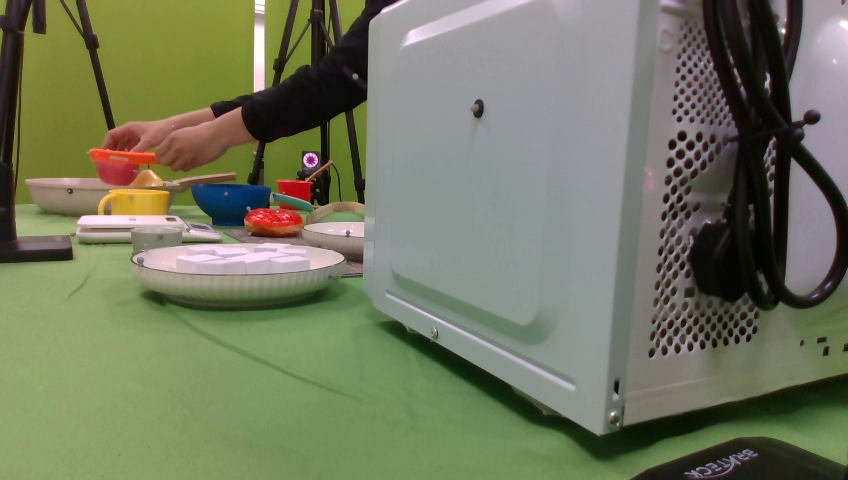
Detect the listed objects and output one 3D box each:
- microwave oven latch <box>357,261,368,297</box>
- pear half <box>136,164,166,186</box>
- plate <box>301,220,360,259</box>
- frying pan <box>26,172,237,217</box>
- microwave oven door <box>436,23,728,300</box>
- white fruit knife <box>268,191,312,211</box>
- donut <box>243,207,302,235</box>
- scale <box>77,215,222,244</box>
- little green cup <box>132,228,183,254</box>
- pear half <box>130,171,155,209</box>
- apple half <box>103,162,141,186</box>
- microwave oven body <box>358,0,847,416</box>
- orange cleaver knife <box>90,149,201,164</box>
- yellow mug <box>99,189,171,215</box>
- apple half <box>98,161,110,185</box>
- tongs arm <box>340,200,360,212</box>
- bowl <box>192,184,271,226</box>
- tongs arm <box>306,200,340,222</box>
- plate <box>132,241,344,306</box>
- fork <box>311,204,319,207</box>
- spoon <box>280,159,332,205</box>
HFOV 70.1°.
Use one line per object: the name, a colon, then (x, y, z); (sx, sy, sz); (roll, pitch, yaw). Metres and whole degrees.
microwave oven latch: (-0.019, 0.033, 0.531); (0.079, 0.029, 0.030); (-1, 7, -27)
pear half: (-0.602, -0.120, 1.354); (0.056, 0.110, 0.076); (4, 11, 6)
plate: (-0.077, -0.002, 0.893); (0.209, 0.038, 0.209); (3, 8, 0)
frying pan: (-0.624, -0.118, 1.387); (0.305, 0.102, 0.490); (8, 17, 32)
microwave oven door: (0.180, -0.073, 0.621); (0.358, 0.243, 0.039); (-2, 9, -29)
white fruit knife: (-0.364, -0.105, 1.464); (0.208, 0.027, 0.016); (15, 0, -34)
donut: (-0.261, -0.032, 1.043); (0.099, 0.048, 0.099); (4, 9, 0)
scale: (-0.434, -0.019, 0.963); (0.202, 0.031, 0.148); (-1, 9, -27)
little green cup: (-0.342, 0.006, 0.779); (0.061, 0.038, 0.061); (2, 8, 0)
pear half: (-0.639, -0.113, 1.360); (0.031, 0.088, 0.070); (6, 9, 7)
apple half: (-0.622, -0.145, 1.261); (0.032, 0.081, 0.082); (7, 9, 39)
microwave oven body: (0.211, -0.047, 0.474); (0.444, 0.260, 0.324); (-1, 7, -28)
orange cleaver knife: (-0.545, -0.161, 1.188); (0.212, 0.012, 0.077); (0, -11, -9)
yellow mug: (-0.519, -0.055, 1.080); (0.099, 0.064, 0.131); (7, 10, 27)
apple half: (-0.654, -0.151, 1.284); (0.053, 0.074, 0.081); (10, 9, 38)
tongs arm: (-0.149, -0.070, 1.428); (0.051, 0.026, 0.383); (-4, 9, -15)
bowl: (-0.382, -0.070, 1.202); (0.151, 0.077, 0.151); (2, 7, 0)
tongs arm: (-0.235, -0.068, 1.413); (0.028, 0.028, 0.387); (-5, 8, 0)
plate: (-0.187, 0.033, 0.625); (0.208, 0.039, 0.207); (2, 7, 0)
fork: (-0.356, -0.105, 1.526); (0.208, 0.018, 0.028); (16, -6, -41)
spoon: (-0.316, -0.158, 1.640); (0.194, 0.022, 0.041); (-50, 32, -20)
